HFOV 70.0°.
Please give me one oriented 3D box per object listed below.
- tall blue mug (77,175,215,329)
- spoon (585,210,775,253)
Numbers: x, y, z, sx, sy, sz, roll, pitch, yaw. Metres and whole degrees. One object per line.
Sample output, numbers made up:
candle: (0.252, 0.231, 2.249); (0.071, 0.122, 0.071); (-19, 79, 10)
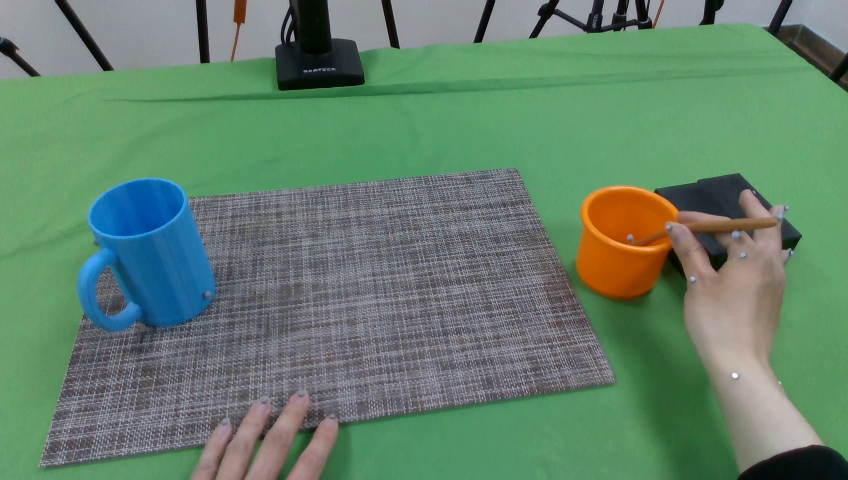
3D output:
tall blue mug: (-0.232, 0.020, 0.515); (0.078, 0.109, 0.106); (0, 44, -3)
spoon: (0.213, -0.008, 0.532); (0.042, 0.193, 0.021); (-12, 85, -27)
